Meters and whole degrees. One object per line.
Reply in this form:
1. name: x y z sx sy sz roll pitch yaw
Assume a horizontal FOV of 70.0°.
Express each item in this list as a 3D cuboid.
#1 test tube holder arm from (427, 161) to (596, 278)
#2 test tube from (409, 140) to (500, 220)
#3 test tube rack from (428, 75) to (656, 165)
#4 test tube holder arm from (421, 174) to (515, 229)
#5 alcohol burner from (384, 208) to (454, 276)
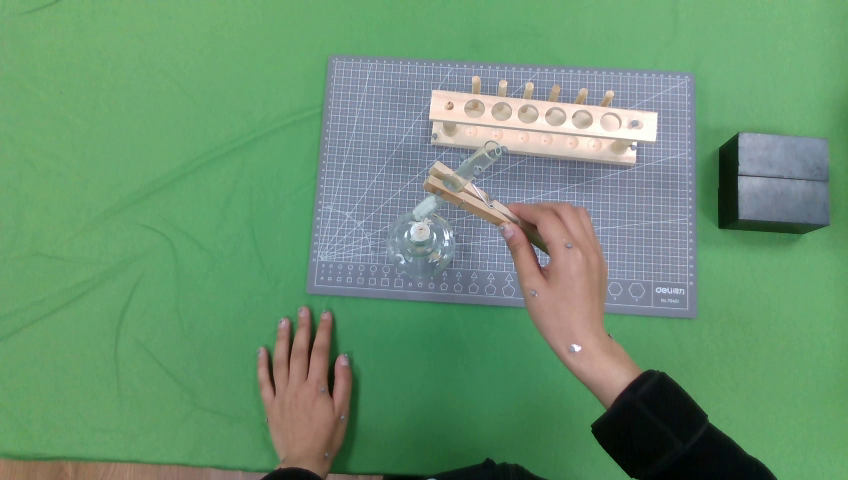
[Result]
1. test tube holder arm: 0.079 -0.016 0.529 0.179 0.015 0.013 31 69 -14
2. test tube: 0.021 -0.046 0.511 0.017 0.150 0.017 8 70 -22
3. test tube rack: 0.130 -0.142 0.692 0.242 0.085 0.066 7 81 2
4. test tube holder arm: 0.039 -0.032 0.516 0.088 0.015 0.010 25 70 -16
5. alcohol burner: -0.006 -0.001 0.656 0.078 0.119 0.077 0 79 0
